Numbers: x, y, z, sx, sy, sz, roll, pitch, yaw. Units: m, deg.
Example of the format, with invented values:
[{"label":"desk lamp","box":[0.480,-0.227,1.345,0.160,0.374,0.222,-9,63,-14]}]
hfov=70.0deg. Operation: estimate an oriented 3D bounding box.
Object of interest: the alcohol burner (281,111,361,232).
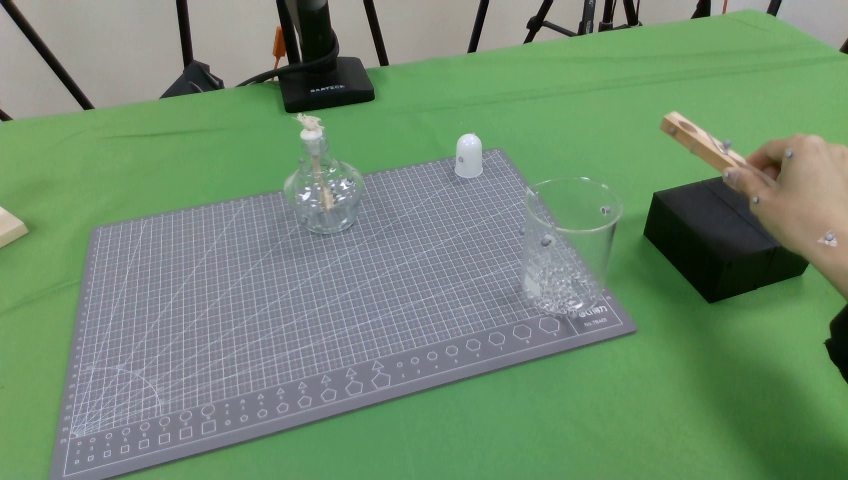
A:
[{"label":"alcohol burner","box":[-0.102,-0.068,0.582,0.078,0.120,0.077,-3,40,3]}]

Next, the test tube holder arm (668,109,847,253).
[{"label":"test tube holder arm","box":[0.260,-0.052,0.483,0.013,0.015,0.176,-25,54,-22]}]

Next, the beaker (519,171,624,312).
[{"label":"beaker","box":[0.114,0.003,0.502,0.083,0.101,0.074,31,51,33]}]

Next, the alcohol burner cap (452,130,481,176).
[{"label":"alcohol burner cap","box":[0.046,-0.098,0.664,0.034,0.048,0.033,-1,41,1]}]

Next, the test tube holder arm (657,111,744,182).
[{"label":"test tube holder arm","box":[0.231,-0.079,0.506,0.010,0.015,0.087,-26,54,-22]}]

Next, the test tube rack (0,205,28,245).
[{"label":"test tube rack","box":[-0.504,0.012,0.535,0.066,0.086,0.242,25,48,27]}]
